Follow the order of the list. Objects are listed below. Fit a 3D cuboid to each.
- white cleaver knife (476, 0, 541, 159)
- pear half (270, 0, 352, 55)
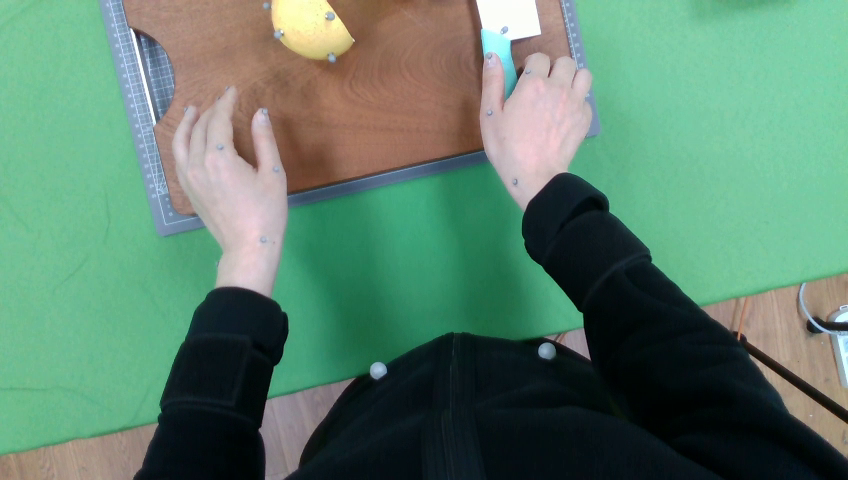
[{"bbox_3d":[0.076,-0.216,0.560,0.066,0.021,0.286,-13,95,-9],"label":"white cleaver knife"},{"bbox_3d":[-0.103,-0.194,0.514,0.056,0.110,0.076,-43,88,1],"label":"pear half"}]
